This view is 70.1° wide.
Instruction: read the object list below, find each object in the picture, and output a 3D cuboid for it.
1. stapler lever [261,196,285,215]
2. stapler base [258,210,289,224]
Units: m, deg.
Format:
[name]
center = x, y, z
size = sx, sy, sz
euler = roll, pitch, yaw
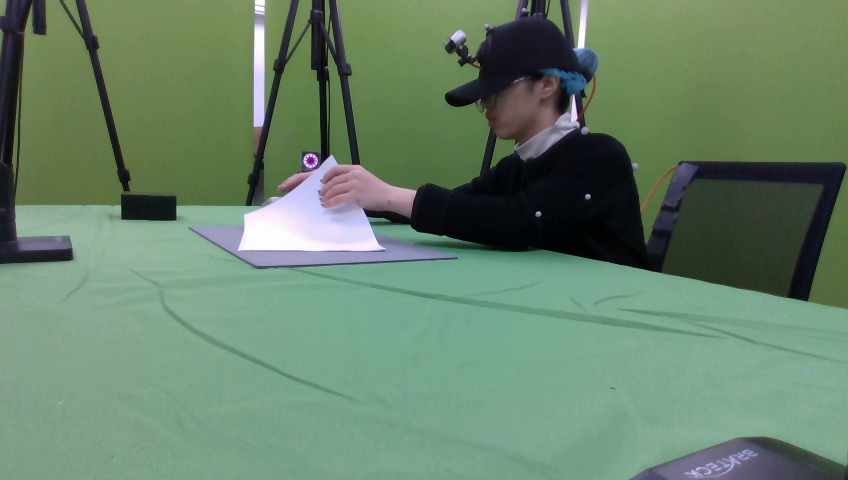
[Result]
[stapler lever]
center = -0.323, -0.076, 1.293
size = 0.027, 0.040, 0.117
euler = 2, 6, -27
[stapler base]
center = -0.323, -0.052, 1.295
size = 0.041, 0.024, 0.130
euler = 2, 5, -27
